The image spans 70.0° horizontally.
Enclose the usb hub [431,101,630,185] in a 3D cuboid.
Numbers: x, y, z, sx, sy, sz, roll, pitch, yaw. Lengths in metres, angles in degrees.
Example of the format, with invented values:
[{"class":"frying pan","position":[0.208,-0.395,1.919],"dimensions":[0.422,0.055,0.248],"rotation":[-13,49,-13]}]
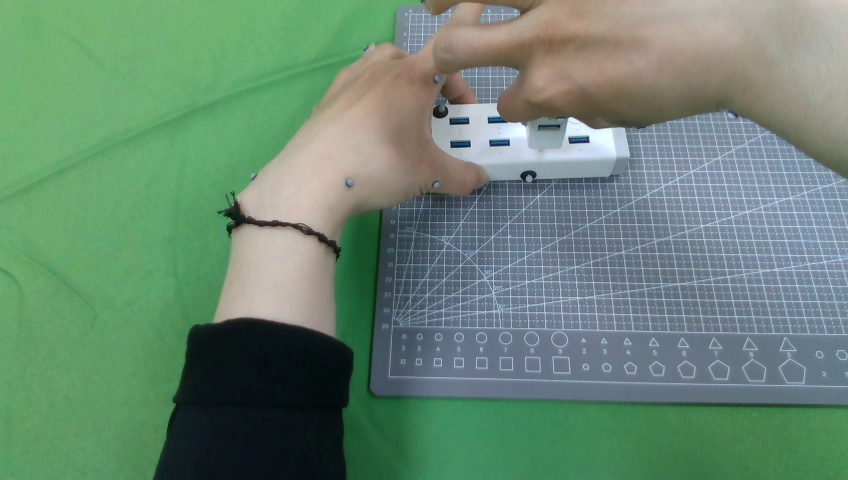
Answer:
[{"class":"usb hub","position":[0.067,-0.064,0.398],"dimensions":[0.125,0.025,0.049],"rotation":[-2,63,1]}]

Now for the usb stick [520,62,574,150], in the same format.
[{"class":"usb stick","position":[0.070,-0.073,0.356],"dimensions":[0.021,0.059,0.027],"rotation":[6,56,-1]}]
